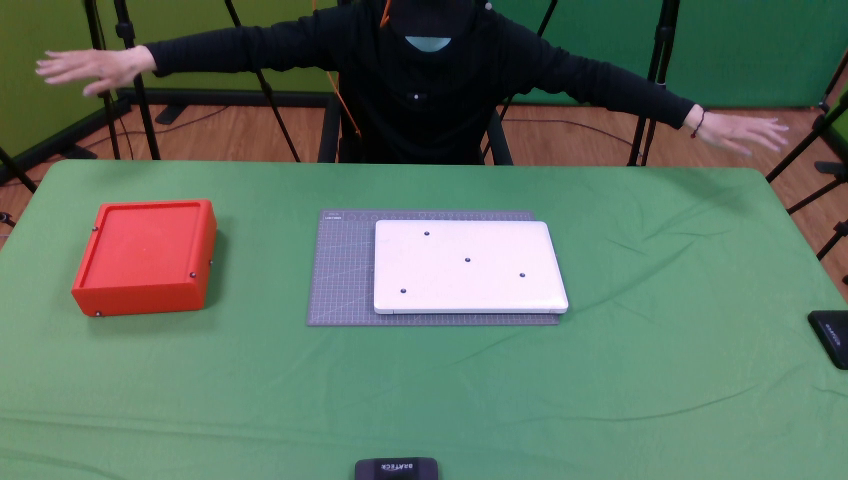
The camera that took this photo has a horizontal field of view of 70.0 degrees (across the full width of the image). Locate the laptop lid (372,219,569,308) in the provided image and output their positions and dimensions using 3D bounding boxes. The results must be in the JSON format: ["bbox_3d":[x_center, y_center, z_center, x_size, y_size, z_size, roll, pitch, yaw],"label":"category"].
[{"bbox_3d":[0.081,0.039,1.152,0.357,0.013,0.240,2,44,-3],"label":"laptop lid"}]

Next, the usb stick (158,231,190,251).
[{"bbox_3d":[-0.475,0.001,1.145,0.059,0.027,0.021,11,43,8],"label":"usb stick"}]

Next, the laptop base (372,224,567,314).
[{"bbox_3d":[0.080,0.049,1.159,0.355,0.023,0.234,0,43,-4],"label":"laptop base"}]

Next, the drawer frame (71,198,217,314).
[{"bbox_3d":[-0.493,0.024,1.095,0.202,0.083,0.212,-3,47,-8],"label":"drawer frame"}]

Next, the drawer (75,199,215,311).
[{"bbox_3d":[-0.494,0.023,1.097,0.195,0.073,0.210,-2,47,-8],"label":"drawer"}]
